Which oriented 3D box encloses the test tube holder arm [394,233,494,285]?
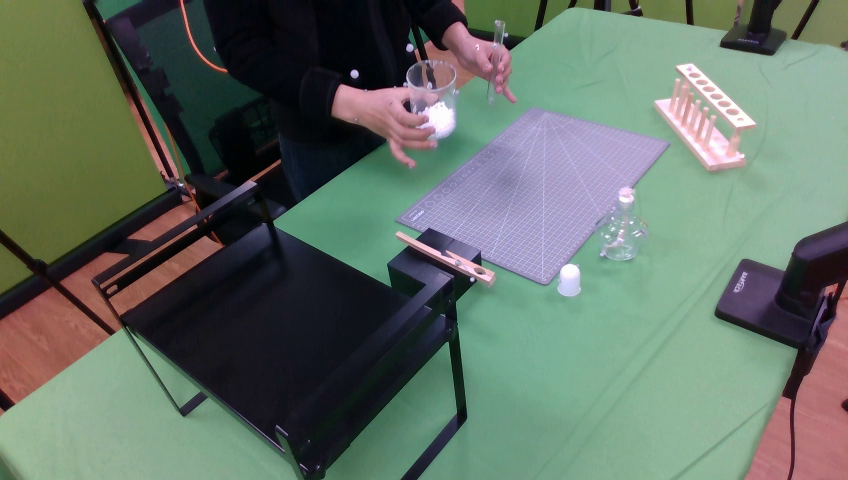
[{"bbox_3d":[0.025,0.025,0.872,0.177,0.015,0.013,23,57,31],"label":"test tube holder arm"}]

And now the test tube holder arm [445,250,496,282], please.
[{"bbox_3d":[0.063,0.036,0.851,0.087,0.015,0.010,24,57,32],"label":"test tube holder arm"}]

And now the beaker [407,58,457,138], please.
[{"bbox_3d":[0.015,-0.215,0.923,0.074,0.100,0.083,1,52,5],"label":"beaker"}]

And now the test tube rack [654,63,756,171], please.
[{"bbox_3d":[0.510,-0.233,1.120,0.067,0.085,0.241,-8,41,-1],"label":"test tube rack"}]

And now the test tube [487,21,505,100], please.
[{"bbox_3d":[0.126,-0.311,1.060,0.017,0.150,0.017,2,46,-1],"label":"test tube"}]

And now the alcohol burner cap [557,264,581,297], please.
[{"bbox_3d":[0.208,0.055,0.866,0.034,0.048,0.033,-4,41,4],"label":"alcohol burner cap"}]

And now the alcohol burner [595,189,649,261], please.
[{"bbox_3d":[0.294,-0.028,0.894,0.078,0.119,0.077,-4,43,4],"label":"alcohol burner"}]
